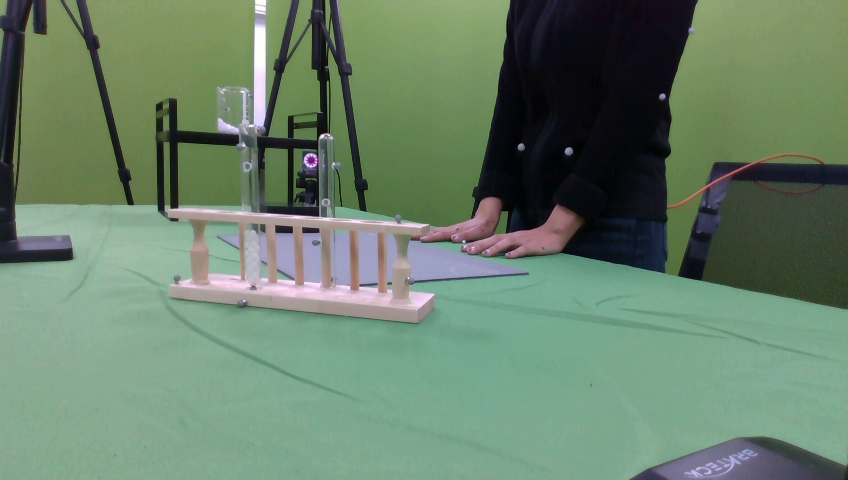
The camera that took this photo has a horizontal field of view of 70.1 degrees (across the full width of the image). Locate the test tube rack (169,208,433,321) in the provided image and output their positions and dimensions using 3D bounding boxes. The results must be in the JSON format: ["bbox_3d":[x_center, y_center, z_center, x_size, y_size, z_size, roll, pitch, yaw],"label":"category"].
[{"bbox_3d":[-0.115,0.018,0.574,0.242,0.085,0.067,4,8,13],"label":"test tube rack"}]

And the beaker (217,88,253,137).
[{"bbox_3d":[-0.412,-0.276,1.310,0.074,0.100,0.084,4,8,16],"label":"beaker"}]

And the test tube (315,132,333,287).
[{"bbox_3d":[-0.096,-0.027,0.583,0.017,0.150,0.017,0,9,0],"label":"test tube"}]

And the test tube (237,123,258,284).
[{"bbox_3d":[-0.163,-0.032,0.559,0.017,0.150,0.017,3,13,0],"label":"test tube"}]
